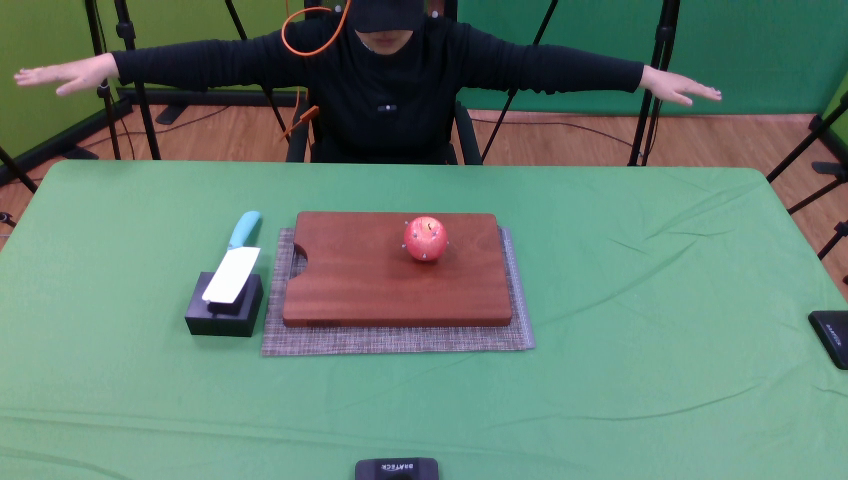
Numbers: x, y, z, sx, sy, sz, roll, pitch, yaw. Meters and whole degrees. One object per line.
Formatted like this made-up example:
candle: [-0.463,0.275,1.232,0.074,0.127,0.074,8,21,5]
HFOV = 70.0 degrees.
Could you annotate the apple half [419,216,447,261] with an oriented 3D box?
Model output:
apple half: [0.016,0.000,1.125,0.053,0.075,0.080,4,43,-6]

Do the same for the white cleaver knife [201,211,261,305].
white cleaver knife: [-0.336,0.029,1.110,0.066,0.021,0.285,6,34,-3]

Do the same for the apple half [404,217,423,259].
apple half: [-0.022,-0.002,1.121,0.033,0.081,0.081,3,46,-7]
